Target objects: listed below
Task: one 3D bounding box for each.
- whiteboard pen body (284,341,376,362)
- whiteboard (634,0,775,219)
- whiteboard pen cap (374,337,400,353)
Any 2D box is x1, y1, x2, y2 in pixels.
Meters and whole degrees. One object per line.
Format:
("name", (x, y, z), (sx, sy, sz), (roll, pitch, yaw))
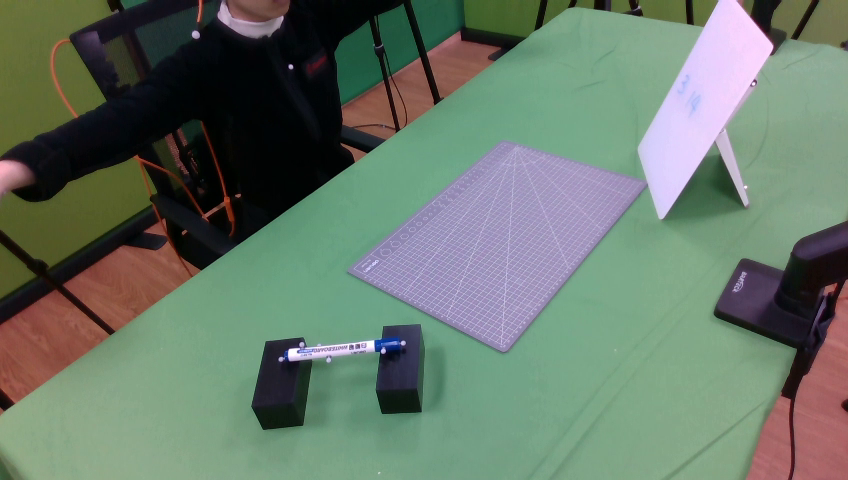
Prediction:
("whiteboard pen body", (-0.105, 0.138, 0.754), (0.141, 0.017, 0.017), (-6, 40, 2))
("whiteboard", (0.485, -0.192, 0.957), (0.144, 0.305, 0.216), (14, 41, -4))
("whiteboard pen cap", (-0.047, 0.132, 0.753), (0.033, 0.018, 0.018), (-9, 40, 3))
